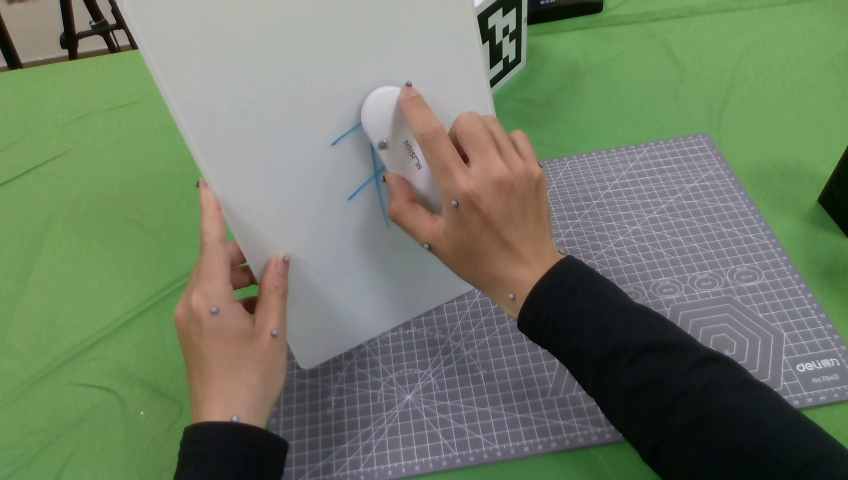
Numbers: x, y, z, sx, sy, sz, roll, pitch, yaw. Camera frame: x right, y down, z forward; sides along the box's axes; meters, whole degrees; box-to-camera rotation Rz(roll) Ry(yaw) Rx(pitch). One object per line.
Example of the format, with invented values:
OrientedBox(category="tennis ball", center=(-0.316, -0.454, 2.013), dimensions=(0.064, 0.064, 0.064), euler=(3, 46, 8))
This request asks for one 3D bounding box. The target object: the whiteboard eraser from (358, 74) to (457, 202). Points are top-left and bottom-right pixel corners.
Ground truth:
OrientedBox(category="whiteboard eraser", center=(-0.011, -0.072, 0.435), dimensions=(0.041, 0.102, 0.018), euler=(-34, 28, -3))

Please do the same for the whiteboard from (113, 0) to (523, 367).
OrientedBox(category="whiteboard", center=(-0.069, -0.092, 0.493), dimensions=(0.217, 0.308, 0.142), euler=(-25, 33, -12))
